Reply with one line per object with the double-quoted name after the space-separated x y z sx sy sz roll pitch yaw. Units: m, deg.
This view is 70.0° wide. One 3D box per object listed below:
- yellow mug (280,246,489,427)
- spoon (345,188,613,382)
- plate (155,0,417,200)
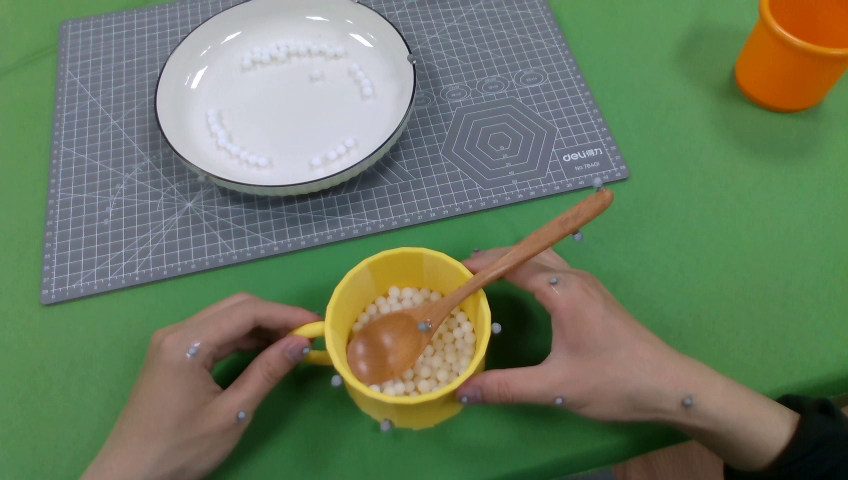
-0.025 0.063 0.384 0.131 0.064 0.099 -5 60 0 "yellow mug"
0.030 0.028 0.366 0.194 0.022 0.041 -36 67 18 "spoon"
-0.109 -0.116 0.497 0.208 0.039 0.206 0 61 1 "plate"
